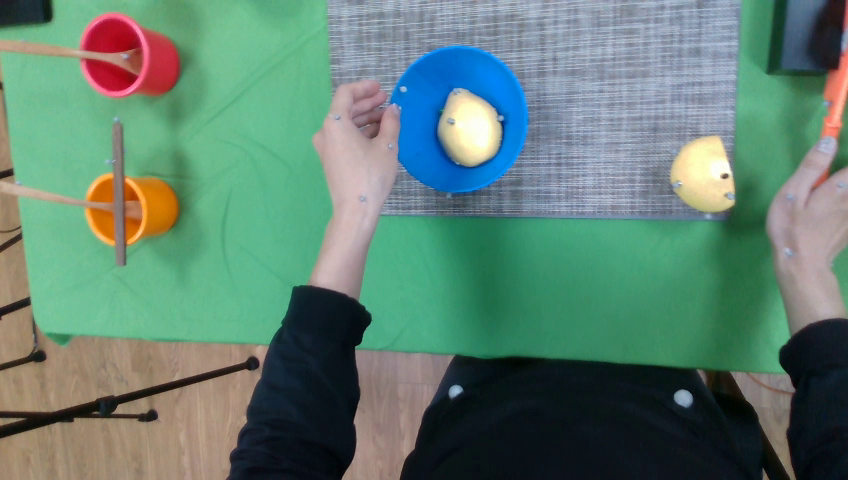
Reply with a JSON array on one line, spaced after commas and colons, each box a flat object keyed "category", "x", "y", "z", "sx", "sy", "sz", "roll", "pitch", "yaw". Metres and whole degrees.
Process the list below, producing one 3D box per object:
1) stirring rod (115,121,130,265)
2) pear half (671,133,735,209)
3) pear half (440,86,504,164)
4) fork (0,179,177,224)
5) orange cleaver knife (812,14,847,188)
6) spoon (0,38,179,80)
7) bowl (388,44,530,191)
[{"category": "stirring rod", "x": -0.369, "y": -0.056, "z": 0.740, "sx": 0.014, "sy": 0.006, "sz": 0.176, "roll": 6, "pitch": 101, "yaw": 10}, {"category": "pear half", "x": 0.277, "y": -0.065, "z": 0.600, "sx": 0.056, "sy": 0.110, "sz": 0.076, "roll": -18, "pitch": 90, "yaw": 16}, {"category": "pear half", "x": 0.048, "y": -0.127, "z": 0.656, "sx": 0.070, "sy": 0.031, "sz": 0.088, "roll": -20, "pitch": 89, "yaw": 12}, {"category": "fork", "x": -0.419, "y": -0.049, "z": 0.755, "sx": 0.209, "sy": 0.018, "sz": 0.028, "roll": 11, "pitch": 115, "yaw": -33}, {"category": "orange cleaver knife", "x": 0.397, "y": -0.151, "z": 0.575, "sx": 0.012, "sy": 0.077, "sz": 0.213, "roll": 5, "pitch": 128, "yaw": 19}, {"category": "spoon", "x": -0.399, "y": -0.224, "z": 0.727, "sx": 0.195, "sy": 0.021, "sz": 0.042, "roll": 0, "pitch": 103, "yaw": -30}, {"category": "bowl", "x": 0.044, "y": -0.131, "z": 0.663, "sx": 0.151, "sy": 0.077, "sz": 0.151, "roll": 2, "pitch": 99, "yaw": 14}]
